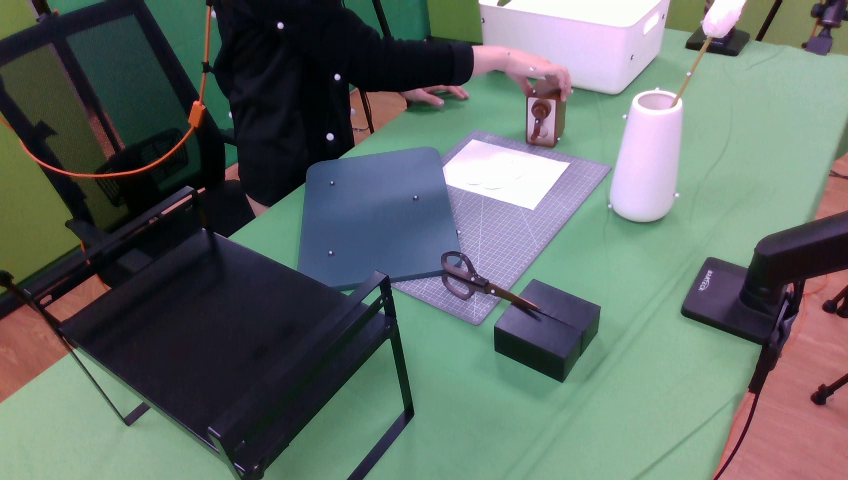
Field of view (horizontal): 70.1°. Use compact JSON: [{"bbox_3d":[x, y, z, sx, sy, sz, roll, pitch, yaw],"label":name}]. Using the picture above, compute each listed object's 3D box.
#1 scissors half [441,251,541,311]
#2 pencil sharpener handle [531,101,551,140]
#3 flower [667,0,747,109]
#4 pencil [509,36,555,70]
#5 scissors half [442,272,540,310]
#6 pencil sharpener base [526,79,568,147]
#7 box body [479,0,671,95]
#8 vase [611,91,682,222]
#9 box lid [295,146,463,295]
[{"bbox_3d":[0.087,0.056,0.824,0.173,0.040,0.013,29,44,36],"label":"scissors half"},{"bbox_3d":[0.211,-0.220,1.118,0.036,0.068,0.030,17,46,17],"label":"pencil sharpener handle"},{"bbox_3d":[0.354,-0.187,0.879,0.038,0.362,0.044,31,48,14],"label":"flower"},{"bbox_3d":[0.262,-0.454,1.469,0.012,0.012,0.194,26,52,33],"label":"pencil"},{"bbox_3d":[0.089,0.074,0.832,0.013,0.040,0.173,-24,23,-38],"label":"scissors half"},{"bbox_3d":[0.235,-0.242,1.160,0.061,0.107,0.077,12,45,21],"label":"pencil sharpener base"},{"bbox_3d":[0.339,-0.480,1.381,0.361,0.161,0.255,22,48,30],"label":"box body"},{"bbox_3d":[0.348,-0.125,0.935,0.098,0.201,0.097,-3,40,3],"label":"vase"},{"bbox_3d":[-0.084,-0.048,1.052,0.263,0.015,0.369,-9,40,0],"label":"box lid"}]
